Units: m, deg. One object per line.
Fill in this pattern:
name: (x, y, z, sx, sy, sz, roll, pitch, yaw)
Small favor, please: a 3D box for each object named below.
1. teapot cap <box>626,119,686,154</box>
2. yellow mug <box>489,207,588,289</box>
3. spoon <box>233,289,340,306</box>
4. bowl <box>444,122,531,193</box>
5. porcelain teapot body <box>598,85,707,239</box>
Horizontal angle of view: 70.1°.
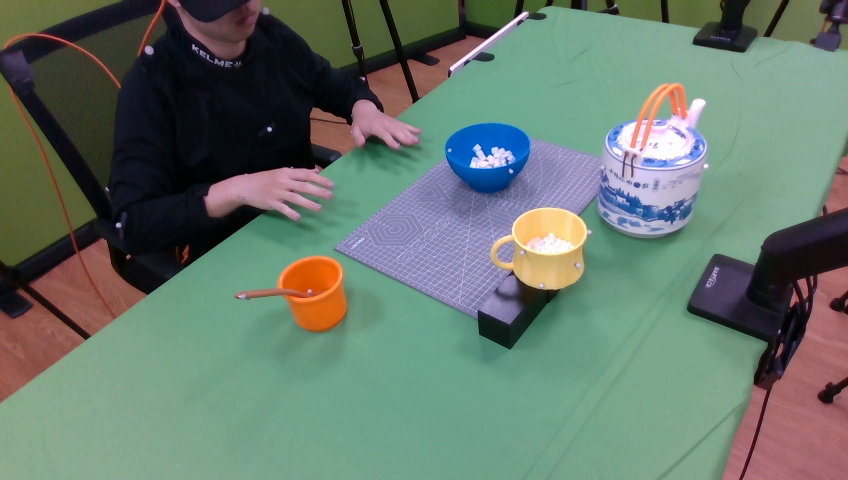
teapot cap: (0.338, -0.153, 0.882, 0.085, 0.044, 0.085, -3, 38, 3)
yellow mug: (0.154, 0.013, 0.821, 0.131, 0.064, 0.099, -8, 40, 0)
spoon: (-0.180, 0.075, 0.811, 0.041, 0.195, 0.021, 17, 91, 31)
bowl: (0.113, -0.136, 1.063, 0.151, 0.077, 0.150, -4, 41, 4)
porcelain teapot body: (0.362, -0.137, 0.921, 0.144, 0.226, 0.206, 29, 51, 36)
